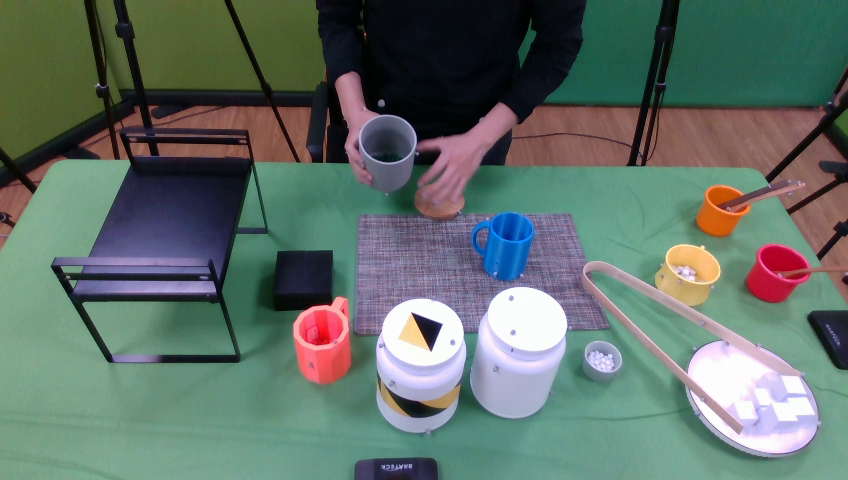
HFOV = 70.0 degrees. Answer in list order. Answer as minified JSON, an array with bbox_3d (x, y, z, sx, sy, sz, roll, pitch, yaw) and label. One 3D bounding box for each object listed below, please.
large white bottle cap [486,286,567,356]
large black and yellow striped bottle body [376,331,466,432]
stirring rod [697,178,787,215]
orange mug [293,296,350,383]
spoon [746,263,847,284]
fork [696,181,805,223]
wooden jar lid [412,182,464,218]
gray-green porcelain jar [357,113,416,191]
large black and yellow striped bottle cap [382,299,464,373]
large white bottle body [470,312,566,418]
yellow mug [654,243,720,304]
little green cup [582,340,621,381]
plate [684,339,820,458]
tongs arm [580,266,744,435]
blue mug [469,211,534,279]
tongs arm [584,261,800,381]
[{"bbox_3d":[0.147,0.114,0.869,0.115,0.018,0.114,3,46,-3],"label":"large white bottle cap"},{"bbox_3d":[-0.007,0.189,0.905,0.131,0.185,0.130,2,46,-2],"label":"large black and yellow striped bottle body"},{"bbox_3d":[0.650,-0.088,1.245,0.006,0.176,0.014,29,49,-39],"label":"stirring rod"},{"bbox_3d":[-0.157,0.154,0.985,0.083,0.101,0.125,17,52,11],"label":"orange mug"},{"bbox_3d":[0.696,0.057,1.113,0.193,0.022,0.041,-16,27,48],"label":"spoon"},{"bbox_3d":[0.659,-0.077,1.232,0.207,0.019,0.028,-26,35,34],"label":"fork"},{"bbox_3d":[0.029,-0.083,1.276,0.108,0.021,0.107,3,43,-3],"label":"wooden jar lid"},{"bbox_3d":[-0.073,-0.160,1.144,0.106,0.127,0.105,2,68,-6],"label":"gray-green porcelain jar"},{"bbox_3d":[-0.002,0.132,0.843,0.115,0.019,0.114,2,46,-1],"label":"large black and yellow striped bottle cap"},{"bbox_3d":[0.143,0.173,0.930,0.131,0.185,0.130,2,46,-2],"label":"large white bottle body"},{"bbox_3d":[0.504,0.054,1.154,0.099,0.064,0.130,28,49,22],"label":"yellow mug"},{"bbox_3d":[0.295,0.203,1.015,0.061,0.039,0.061,2,45,-2],"label":"little green cup"},{"bbox_3d":[0.523,0.256,0.982,0.208,0.039,0.206,2,46,-2],"label":"plate"},{"bbox_3d":[0.384,0.173,1.028,0.028,0.028,0.385,-25,46,-15],"label":"tongs arm"},{"bbox_3d":[0.141,0.005,1.140,0.116,0.106,0.082,18,48,13],"label":"blue mug"},{"bbox_3d":[0.452,0.137,1.064,0.051,0.027,0.382,-34,50,-27],"label":"tongs arm"}]
